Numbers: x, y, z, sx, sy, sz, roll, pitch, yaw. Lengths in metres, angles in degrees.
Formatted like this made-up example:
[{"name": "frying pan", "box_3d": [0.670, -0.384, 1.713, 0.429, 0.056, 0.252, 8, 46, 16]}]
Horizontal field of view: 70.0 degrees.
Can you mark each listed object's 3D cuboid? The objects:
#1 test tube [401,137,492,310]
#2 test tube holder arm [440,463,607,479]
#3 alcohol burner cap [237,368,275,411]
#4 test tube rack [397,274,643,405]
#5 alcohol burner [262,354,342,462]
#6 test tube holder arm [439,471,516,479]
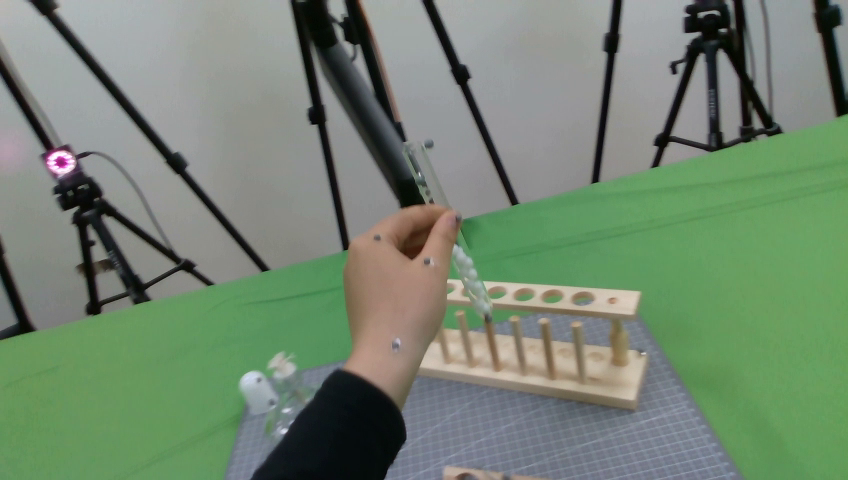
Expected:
[{"name": "test tube", "box_3d": [0.019, -0.007, 0.443, 0.017, 0.151, 0.017, -20, 29, 11]}, {"name": "test tube holder arm", "box_3d": [0.098, 0.193, 0.487, 0.178, 0.015, 0.013, -4, 64, 22]}, {"name": "alcohol burner cap", "box_3d": [-0.189, 0.163, 0.673, 0.034, 0.048, 0.033, -12, 30, 7]}, {"name": "test tube rack", "box_3d": [0.085, 0.093, 0.606, 0.241, 0.086, 0.066, 1, 33, 31]}, {"name": "alcohol burner", "box_3d": [-0.122, 0.154, 0.578, 0.078, 0.120, 0.077, -11, 30, 7]}, {"name": "test tube holder arm", "box_3d": [0.055, 0.201, 0.501, 0.087, 0.015, 0.010, -3, 65, 22]}]
